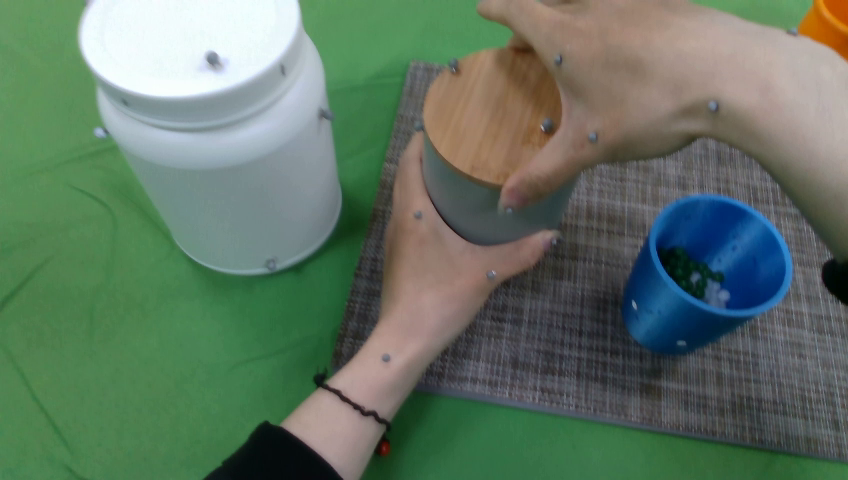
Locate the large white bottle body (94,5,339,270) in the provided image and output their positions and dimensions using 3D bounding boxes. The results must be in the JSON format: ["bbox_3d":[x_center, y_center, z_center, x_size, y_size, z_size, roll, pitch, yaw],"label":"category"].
[{"bbox_3d":[-0.128,-0.075,0.400,0.131,0.186,0.129,1,61,-2],"label":"large white bottle body"}]

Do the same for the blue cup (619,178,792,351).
[{"bbox_3d":[0.174,0.029,0.403,0.093,0.101,0.092,1,60,-1],"label":"blue cup"}]

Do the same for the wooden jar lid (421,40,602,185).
[{"bbox_3d":[0.052,-0.076,0.368,0.108,0.021,0.107,0,61,0],"label":"wooden jar lid"}]

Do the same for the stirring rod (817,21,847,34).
[{"bbox_3d":[0.372,-0.183,0.516,0.014,0.006,0.176,16,19,10],"label":"stirring rod"}]

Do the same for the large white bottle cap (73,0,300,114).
[{"bbox_3d":[-0.125,-0.116,0.325,0.115,0.018,0.114,1,61,-2],"label":"large white bottle cap"}]

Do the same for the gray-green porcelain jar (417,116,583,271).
[{"bbox_3d":[0.048,-0.045,0.423,0.106,0.127,0.105,1,61,-2],"label":"gray-green porcelain jar"}]
